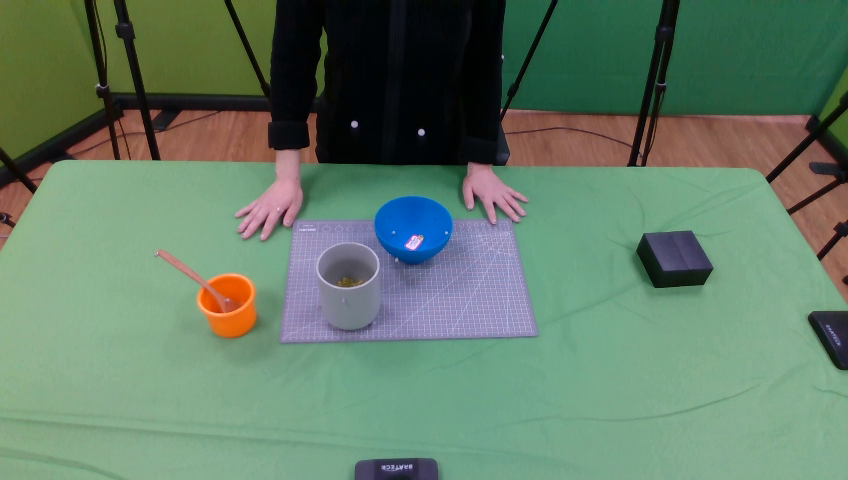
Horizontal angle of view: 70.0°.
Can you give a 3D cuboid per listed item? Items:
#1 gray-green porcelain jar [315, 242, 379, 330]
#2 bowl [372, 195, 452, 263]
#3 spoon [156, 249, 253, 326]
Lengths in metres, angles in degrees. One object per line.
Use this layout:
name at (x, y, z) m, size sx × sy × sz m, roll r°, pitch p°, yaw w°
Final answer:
gray-green porcelain jar at (-0.129, 0.083, 1.031) m, size 0.106 × 0.127 × 0.105 m, roll 2°, pitch 46°, yaw -2°
bowl at (-0.023, -0.008, 1.161) m, size 0.151 × 0.077 × 0.150 m, roll 2°, pitch 46°, yaw -2°
spoon at (-0.363, 0.077, 1.007) m, size 0.021 × 0.194 × 0.041 m, roll -23°, pitch 30°, yaw 38°
